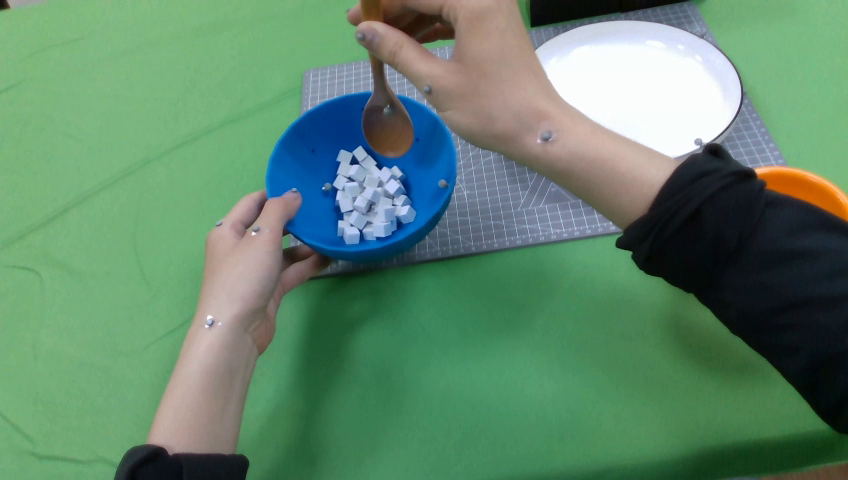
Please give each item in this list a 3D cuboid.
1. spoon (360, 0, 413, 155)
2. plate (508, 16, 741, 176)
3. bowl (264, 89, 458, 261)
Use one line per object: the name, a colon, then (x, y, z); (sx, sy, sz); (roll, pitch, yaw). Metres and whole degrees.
spoon: (-0.028, -0.113, 0.386); (0.041, 0.195, 0.021); (16, 69, 7)
plate: (0.185, -0.136, 0.579); (0.209, 0.038, 0.207); (-5, 54, 7)
bowl: (-0.044, -0.040, 0.496); (0.151, 0.077, 0.150); (-3, 63, 6)
